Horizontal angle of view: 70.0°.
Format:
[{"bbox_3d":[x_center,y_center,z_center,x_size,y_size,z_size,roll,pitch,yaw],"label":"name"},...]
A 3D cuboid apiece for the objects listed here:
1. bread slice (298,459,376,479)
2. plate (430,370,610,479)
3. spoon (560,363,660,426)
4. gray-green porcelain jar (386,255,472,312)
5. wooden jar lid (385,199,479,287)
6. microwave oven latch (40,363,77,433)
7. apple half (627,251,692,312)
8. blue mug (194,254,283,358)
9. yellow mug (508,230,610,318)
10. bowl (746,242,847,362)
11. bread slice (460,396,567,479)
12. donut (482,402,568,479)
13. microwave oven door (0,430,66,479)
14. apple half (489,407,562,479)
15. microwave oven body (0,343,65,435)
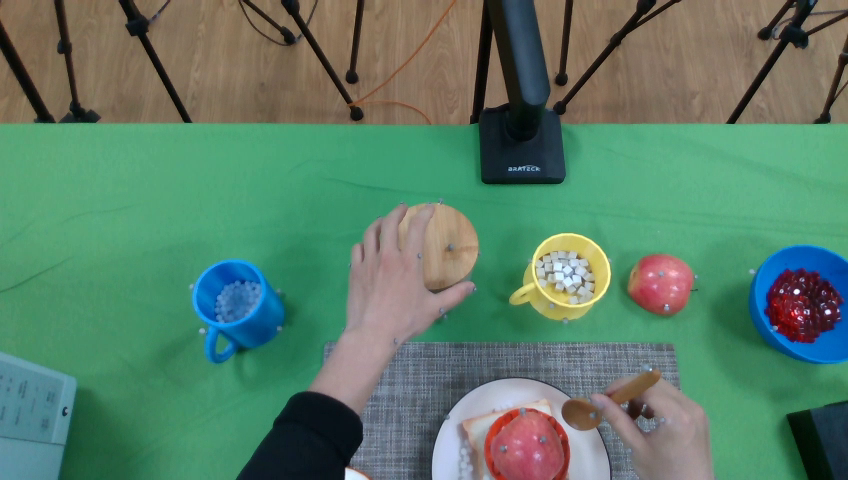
[{"bbox_3d":[-0.109,0.319,0.692,0.105,0.019,0.130,8,70,1],"label":"bread slice"},{"bbox_3d":[0.109,0.260,0.709,0.208,0.039,0.206,0,69,-1],"label":"plate"},{"bbox_3d":[0.178,0.152,0.587,0.041,0.195,0.021,39,66,10],"label":"spoon"},{"bbox_3d":[0.007,0.029,0.753,0.106,0.127,0.105,0,68,-1],"label":"gray-green porcelain jar"},{"bbox_3d":[0.009,0.005,0.695,0.108,0.021,0.107,0,67,0],"label":"wooden jar lid"},{"bbox_3d":[-0.433,0.184,0.709,0.030,0.030,0.078,6,69,1],"label":"microwave oven latch"},{"bbox_3d":[0.311,0.048,0.792,0.074,0.054,0.080,21,70,10],"label":"apple half"},{"bbox_3d":[-0.229,0.088,0.735,0.082,0.106,0.116,20,70,7],"label":"blue mug"},{"bbox_3d":[0.168,0.050,0.781,0.131,0.064,0.099,-22,71,-9],"label":"yellow mug"},{"bbox_3d":[0.473,0.086,0.767,0.151,0.077,0.150,0,69,-1],"label":"bowl"},{"bbox_3d":[0.114,0.262,0.716,0.107,0.018,0.133,-19,66,-5],"label":"bread slice"},{"bbox_3d":[0.115,0.235,0.688,0.099,0.048,0.098,0,69,-1],"label":"donut"},{"bbox_3d":[-0.434,0.351,0.535,0.039,0.245,0.353,0,68,0],"label":"microwave oven door"},{"bbox_3d":[0.113,0.222,0.654,0.081,0.033,0.080,-2,70,6],"label":"apple half"},{"bbox_3d":[-0.580,0.312,0.553,0.326,0.262,0.438,1,69,-1],"label":"microwave oven body"}]
